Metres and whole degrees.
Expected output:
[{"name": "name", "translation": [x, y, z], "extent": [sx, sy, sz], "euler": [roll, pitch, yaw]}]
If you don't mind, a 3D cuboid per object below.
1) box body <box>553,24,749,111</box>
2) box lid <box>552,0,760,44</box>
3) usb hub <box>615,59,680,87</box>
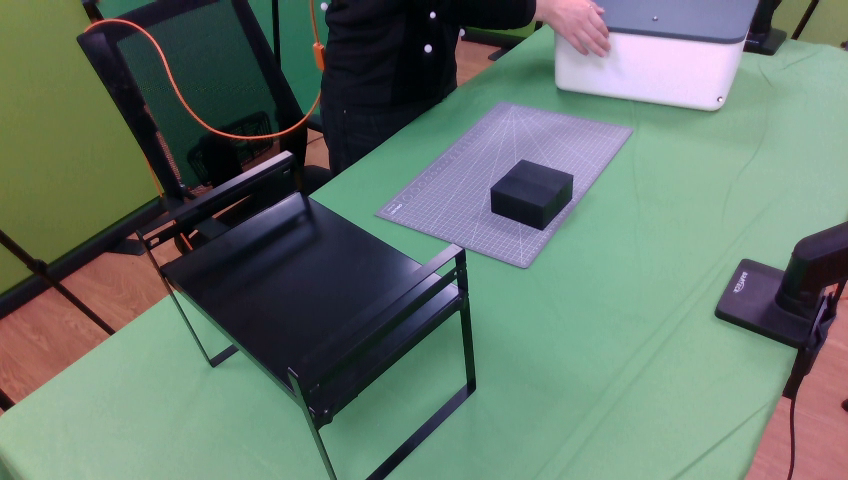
[{"name": "box body", "translation": [0.480, -0.417, 1.282], "extent": [0.362, 0.161, 0.254], "euler": [16, 46, 25]}, {"name": "box lid", "translation": [0.471, -0.473, 1.234], "extent": [0.369, 0.015, 0.263], "euler": [16, 45, 25]}, {"name": "usb hub", "translation": [0.484, -0.363, 1.311], "extent": [0.124, 0.025, 0.049], "euler": [22, 46, 27]}]
